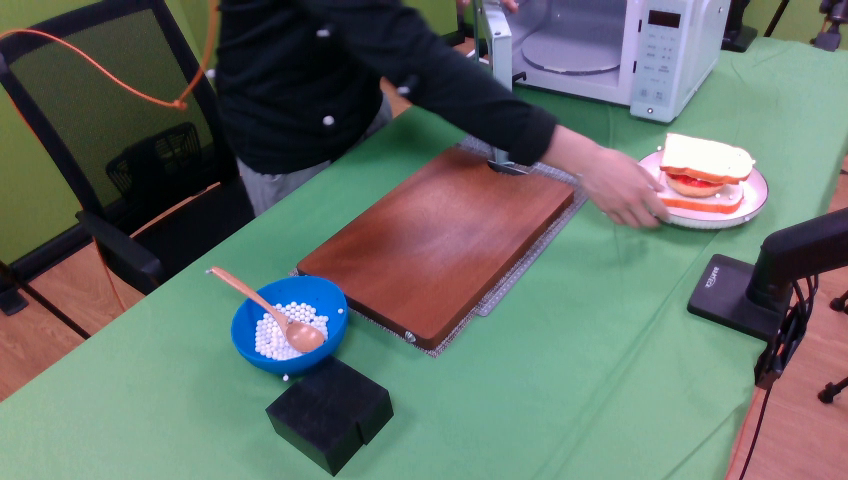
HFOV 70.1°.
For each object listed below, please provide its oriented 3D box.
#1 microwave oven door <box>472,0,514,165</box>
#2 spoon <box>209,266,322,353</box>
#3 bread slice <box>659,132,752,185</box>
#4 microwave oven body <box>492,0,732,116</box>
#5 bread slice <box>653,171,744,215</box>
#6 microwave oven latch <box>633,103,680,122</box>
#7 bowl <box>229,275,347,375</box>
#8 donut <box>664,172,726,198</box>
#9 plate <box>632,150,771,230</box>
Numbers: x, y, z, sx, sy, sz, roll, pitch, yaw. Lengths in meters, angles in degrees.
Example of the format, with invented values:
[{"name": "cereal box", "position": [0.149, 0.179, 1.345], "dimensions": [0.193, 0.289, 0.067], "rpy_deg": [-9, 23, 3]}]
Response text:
[{"name": "microwave oven door", "position": [0.128, -0.341, 1.153], "dimensions": [0.039, 0.245, 0.354], "rpy_deg": [-6, 41, 2]}, {"name": "spoon", "position": [-0.214, 0.088, 0.806], "dimensions": [0.193, 0.021, 0.042], "rpy_deg": [37, 54, 12]}, {"name": "bread slice", "position": [0.443, -0.126, 0.951], "dimensions": [0.134, 0.018, 0.107], "rpy_deg": [14, 43, 14]}, {"name": "microwave oven body", "position": [0.377, -0.463, 1.267], "dimensions": [0.438, 0.261, 0.327], "rpy_deg": [21, 49, 30]}, {"name": "bread slice", "position": [0.452, -0.084, 0.992], "dimensions": [0.131, 0.019, 0.105], "rpy_deg": [11, 45, 21]}, {"name": "microwave oven latch", "position": [0.443, -0.249, 1.157], "dimensions": [0.078, 0.029, 0.030], "rpy_deg": [21, 49, 30]}, {"name": "bowl", "position": [-0.171, 0.125, 0.802], "dimensions": [0.151, 0.077, 0.150], "rpy_deg": [-4, 40, 4]}, {"name": "donut", "position": [0.438, -0.105, 0.973], "dimensions": [0.099, 0.048, 0.098], "rpy_deg": [-8, 41, 8]}, {"name": "plate", "position": [0.447, -0.081, 0.988], "dimensions": [0.207, 0.039, 0.206], "rpy_deg": [-4, 40, 4]}]
